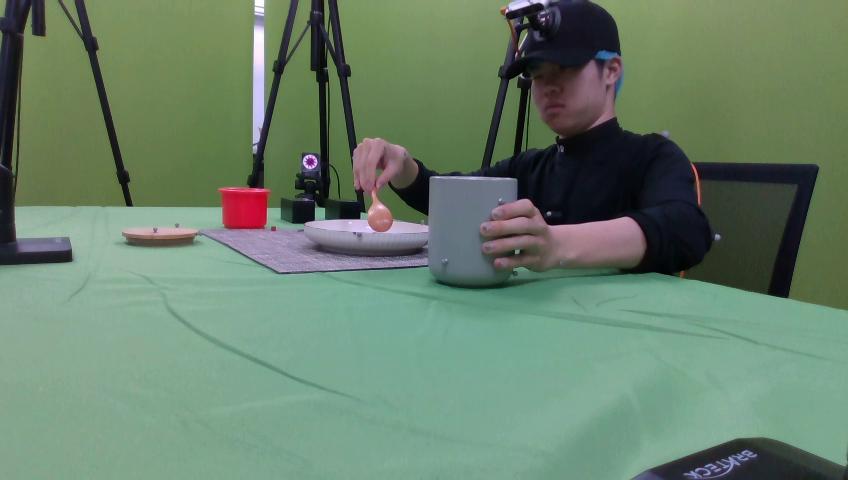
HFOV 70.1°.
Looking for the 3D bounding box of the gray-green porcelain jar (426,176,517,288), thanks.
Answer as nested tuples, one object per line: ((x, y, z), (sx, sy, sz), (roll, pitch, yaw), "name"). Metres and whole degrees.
((0.056, -0.011, 0.722), (0.106, 0.126, 0.106), (1, 7, 0), "gray-green porcelain jar")

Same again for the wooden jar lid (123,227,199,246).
((-0.408, -0.006, 0.942), (0.108, 0.020, 0.108), (3, 6, 0), "wooden jar lid")

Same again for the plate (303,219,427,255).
((-0.085, -0.005, 0.952), (0.208, 0.039, 0.207), (3, 7, 0), "plate")

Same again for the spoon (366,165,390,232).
((-0.081, -0.074, 1.001), (0.042, 0.021, 0.193), (17, 29, -20), "spoon")
